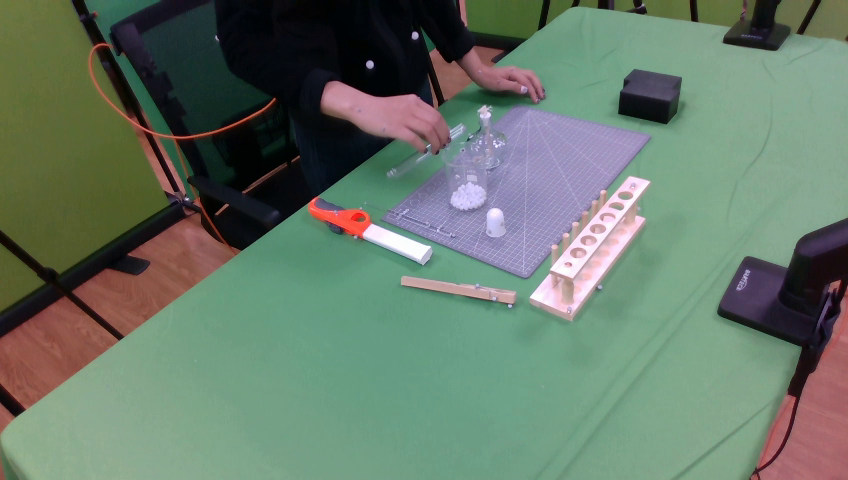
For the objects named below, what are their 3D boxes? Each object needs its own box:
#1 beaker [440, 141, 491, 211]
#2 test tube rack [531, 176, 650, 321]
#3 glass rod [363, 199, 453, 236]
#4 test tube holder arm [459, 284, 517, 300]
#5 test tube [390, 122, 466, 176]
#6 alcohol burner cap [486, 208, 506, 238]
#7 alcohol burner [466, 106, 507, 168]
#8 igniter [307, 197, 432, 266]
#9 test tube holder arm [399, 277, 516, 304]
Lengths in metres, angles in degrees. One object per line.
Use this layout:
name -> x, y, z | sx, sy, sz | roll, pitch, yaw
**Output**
beaker -> 0.074, -0.106, 1.028 | 0.084, 0.101, 0.073 | -2, 41, 8
test tube rack -> 0.246, 0.002, 0.884 | 0.066, 0.085, 0.243 | 22, 49, 32
glass rod -> -0.031, -0.041, 1.041 | 0.198, 0.008, 0.008 | 22, 50, 31
test tube holder arm -> 0.091, 0.078, 0.877 | 0.087, 0.015, 0.010 | 7, 9, 20
test tube -> 0.007, -0.139, 0.924 | 0.151, 0.017, 0.017 | -37, 47, -24
alcohol burner cap -> 0.116, -0.030, 0.975 | 0.034, 0.048, 0.033 | -6, 40, 5
alcohol burner -> 0.114, -0.193, 1.112 | 0.078, 0.119, 0.077 | -4, 41, 4
igniter -> -0.102, -0.020, 1.019 | 0.274, 0.025, 0.057 | 23, 60, 32
test tube holder arm -> 0.047, 0.073, 0.887 | 0.177, 0.015, 0.013 | 7, 9, 18
